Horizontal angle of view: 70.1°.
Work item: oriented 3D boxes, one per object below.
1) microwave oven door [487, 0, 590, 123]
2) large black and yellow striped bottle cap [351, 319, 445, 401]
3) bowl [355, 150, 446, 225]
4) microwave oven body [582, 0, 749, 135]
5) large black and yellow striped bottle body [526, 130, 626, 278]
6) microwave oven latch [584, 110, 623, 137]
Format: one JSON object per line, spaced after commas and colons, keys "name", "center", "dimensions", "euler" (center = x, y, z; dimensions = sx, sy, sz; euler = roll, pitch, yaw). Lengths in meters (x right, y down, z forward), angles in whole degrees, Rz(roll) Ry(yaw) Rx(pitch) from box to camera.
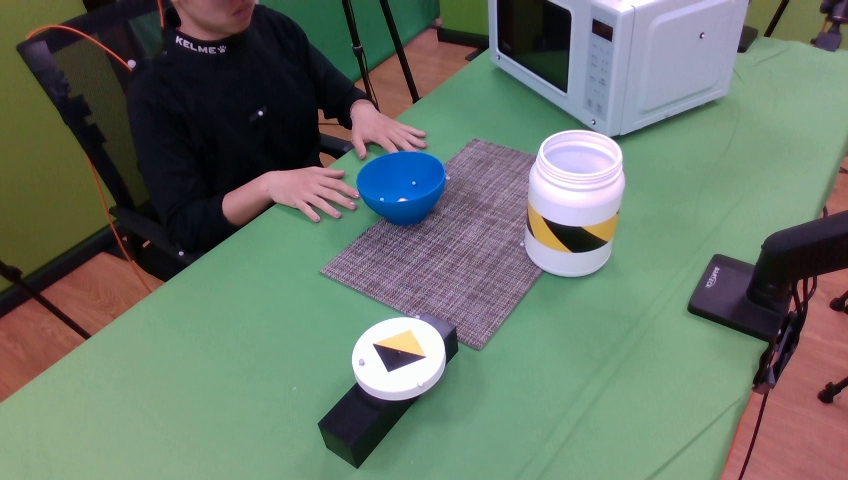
{"name": "microwave oven door", "center": [0.231, -0.420, 1.230], "dimensions": [0.039, 0.245, 0.352], "euler": [-22, 43, -16]}
{"name": "large black and yellow striped bottle cap", "center": [-0.031, 0.143, 0.734], "dimensions": [0.115, 0.019, 0.114], "euler": [-3, 40, 3]}
{"name": "bowl", "center": [-0.035, -0.078, 1.017], "dimensions": [0.151, 0.077, 0.150], "euler": [-4, 40, 4]}
{"name": "microwave oven body", "center": [0.382, -0.444, 1.246], "dimensions": [0.327, 0.261, 0.437], "euler": [-22, 42, -16]}
{"name": "large black and yellow striped bottle body", "center": [0.216, -0.051, 0.870], "dimensions": [0.131, 0.185, 0.130], "euler": [-2, 43, 2]}
{"name": "microwave oven latch", "center": [0.337, -0.222, 1.142], "dimensions": [0.030, 0.029, 0.078], "euler": [-21, 42, -14]}
